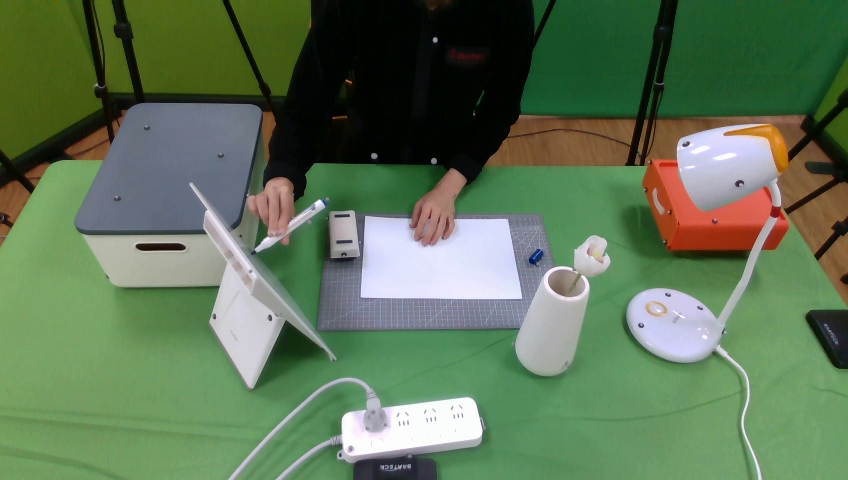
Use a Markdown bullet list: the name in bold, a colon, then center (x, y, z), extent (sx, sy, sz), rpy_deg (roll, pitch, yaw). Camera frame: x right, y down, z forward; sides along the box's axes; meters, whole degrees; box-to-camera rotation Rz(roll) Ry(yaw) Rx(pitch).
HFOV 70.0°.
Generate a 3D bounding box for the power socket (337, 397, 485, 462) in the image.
- **power socket**: center (-0.018, 0.285, 0.915), extent (0.227, 0.033, 0.071), rpy_deg (-5, 46, -8)

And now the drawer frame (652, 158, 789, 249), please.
- **drawer frame**: center (0.571, -0.075, 1.214), extent (0.214, 0.083, 0.200), rpy_deg (0, 45, -1)

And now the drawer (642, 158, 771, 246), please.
- **drawer**: center (0.565, -0.076, 1.211), extent (0.212, 0.073, 0.193), rpy_deg (2, 45, -2)

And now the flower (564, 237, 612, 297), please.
- **flower**: center (0.206, 0.088, 0.893), extent (0.038, 0.363, 0.044), rpy_deg (-16, 67, -9)

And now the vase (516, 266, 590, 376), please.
- **vase**: center (0.208, 0.132, 0.964), extent (0.098, 0.201, 0.097), rpy_deg (3, 46, -3)

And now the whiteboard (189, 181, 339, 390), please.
- **whiteboard**: center (-0.292, 0.096, 0.929), extent (0.144, 0.307, 0.216), rpy_deg (-37, 57, -10)

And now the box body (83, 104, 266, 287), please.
- **box body**: center (-0.447, -0.088, 1.150), extent (0.254, 0.161, 0.361), rpy_deg (-1, 46, -5)

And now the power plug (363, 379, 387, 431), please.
- **power plug**: center (-0.072, 0.252, 0.910), extent (0.035, 0.053, 0.072), rpy_deg (3, 45, -1)

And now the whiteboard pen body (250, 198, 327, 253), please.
- **whiteboard pen body**: center (-0.210, -0.021, 0.939), extent (0.141, 0.017, 0.017), rpy_deg (-38, 58, -16)

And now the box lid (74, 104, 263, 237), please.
- **box lid**: center (-0.443, -0.139, 1.095), extent (0.263, 0.015, 0.369), rpy_deg (-1, 45, -5)

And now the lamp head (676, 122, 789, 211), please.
- **lamp head**: center (0.423, -0.104, 0.819), extent (0.122, 0.113, 0.112), rpy_deg (-13, 33, 40)

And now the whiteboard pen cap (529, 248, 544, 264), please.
- **whiteboard pen cap**: center (0.219, 0.032, 1.183), extent (0.018, 0.018, 0.033), rpy_deg (31, 51, 23)

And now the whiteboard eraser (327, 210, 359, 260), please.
- **whiteboard eraser**: center (-0.158, -0.010, 1.176), extent (0.055, 0.042, 0.112), rpy_deg (-5, 47, -8)

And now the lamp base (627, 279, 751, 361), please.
- **lamp base**: center (0.459, 0.100, 1.027), extent (0.178, 0.181, 0.160), rpy_deg (27, 51, 17)

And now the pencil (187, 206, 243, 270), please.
- **pencil**: center (-0.401, -0.009, 1.176), extent (0.012, 0.012, 0.193), rpy_deg (15, 44, 10)
